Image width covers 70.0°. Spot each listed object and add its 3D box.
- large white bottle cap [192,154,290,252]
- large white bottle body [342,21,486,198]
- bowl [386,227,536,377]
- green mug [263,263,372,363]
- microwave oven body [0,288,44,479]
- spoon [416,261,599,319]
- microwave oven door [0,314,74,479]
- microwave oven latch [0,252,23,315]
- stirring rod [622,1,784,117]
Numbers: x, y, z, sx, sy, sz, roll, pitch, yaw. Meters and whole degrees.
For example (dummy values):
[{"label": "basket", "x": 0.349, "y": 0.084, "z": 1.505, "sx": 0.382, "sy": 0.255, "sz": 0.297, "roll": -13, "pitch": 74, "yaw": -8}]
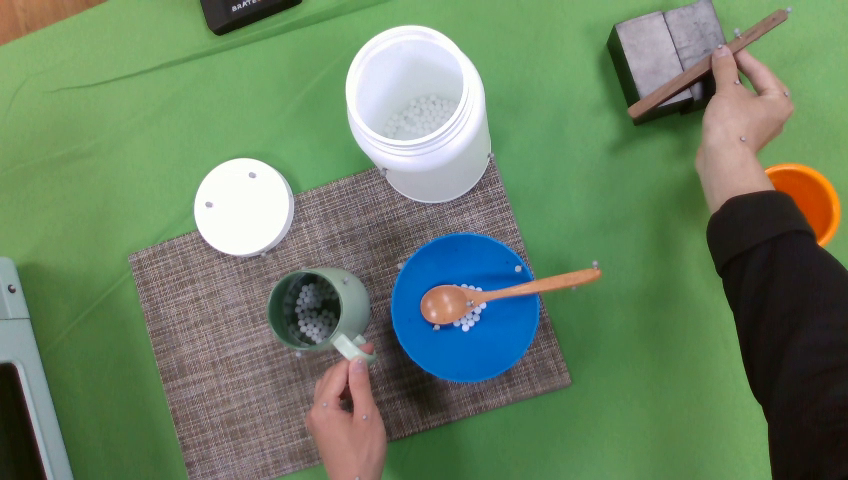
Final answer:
[{"label": "large white bottle cap", "x": -0.214, "y": -0.043, "z": 0.707, "sx": 0.115, "sy": 0.018, "sz": 0.114, "roll": -1, "pitch": 85, "yaw": 7}, {"label": "large white bottle body", "x": -0.006, "y": -0.123, "z": 0.604, "sx": 0.130, "sy": 0.185, "sz": 0.130, "roll": -1, "pitch": 82, "yaw": 8}, {"label": "bowl", "x": 0.041, "y": 0.064, "z": 0.639, "sx": 0.151, "sy": 0.077, "sz": 0.151, "roll": -1, "pitch": 86, "yaw": 7}, {"label": "green mug", "x": -0.102, "y": 0.081, "z": 0.642, "sx": 0.125, "sy": 0.105, "sz": 0.092, "roll": 45, "pitch": 91, "yaw": 8}, {"label": "microwave oven body", "x": -0.592, "y": 0.260, "z": 0.608, "sx": 0.326, "sy": 0.261, "sz": 0.440, "roll": -20, "pitch": 84, "yaw": 4}, {"label": "spoon", "x": 0.079, "y": 0.048, "z": 0.607, "sx": 0.193, "sy": 0.022, "sz": 0.041, "roll": -14, "pitch": 86, "yaw": 29}, {"label": "microwave oven door", "x": -0.441, "y": 0.248, "z": 0.586, "sx": 0.039, "sy": 0.244, "sz": 0.354, "roll": -21, "pitch": 84, "yaw": 5}, {"label": "microwave oven latch", "x": -0.500, "y": 0.052, "z": 0.709, "sx": 0.030, "sy": 0.029, "sz": 0.079, "roll": -20, "pitch": 84, "yaw": 4}, {"label": "stirring rod", "x": 0.280, "y": -0.181, "z": 0.613, "sx": 0.176, "sy": 0.006, "sz": 0.014, "roll": -35, "pitch": 76, "yaw": 13}]
